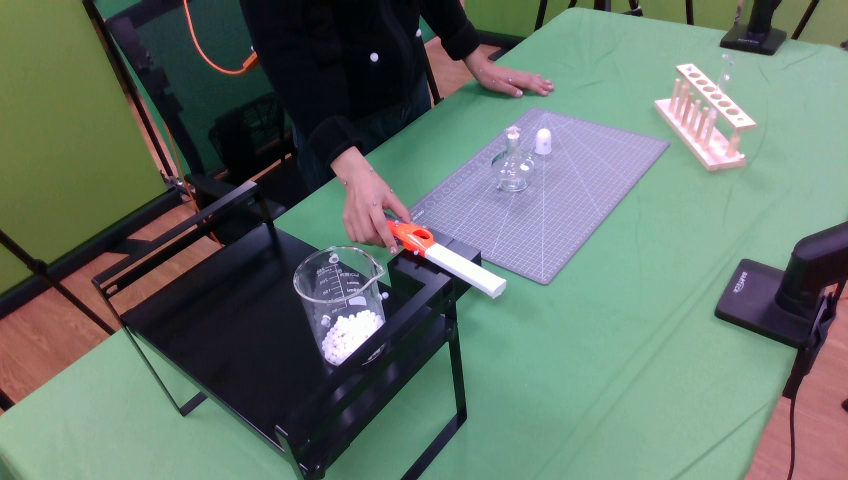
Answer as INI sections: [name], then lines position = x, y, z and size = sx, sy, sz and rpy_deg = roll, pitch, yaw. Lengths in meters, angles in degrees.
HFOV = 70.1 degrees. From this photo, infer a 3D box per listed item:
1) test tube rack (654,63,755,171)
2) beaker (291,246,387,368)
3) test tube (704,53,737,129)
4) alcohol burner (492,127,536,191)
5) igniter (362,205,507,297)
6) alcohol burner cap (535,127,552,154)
[test tube rack]
position = 0.510, -0.233, 1.120
size = 0.067, 0.085, 0.241
rpy_deg = -8, 41, -1
[beaker]
position = -0.073, 0.066, 0.573
size = 0.084, 0.101, 0.073
rpy_deg = -7, 41, 0
[test tube]
position = 0.526, -0.261, 1.074
size = 0.017, 0.151, 0.017
rpy_deg = -2, 44, 2
[alcohol burner]
position = 0.156, -0.146, 1.046
size = 0.078, 0.119, 0.077
rpy_deg = -4, 43, 4
[igniter]
position = 0.004, 0.009, 0.888
size = 0.274, 0.025, 0.057
rpy_deg = 30, 45, 33
[alcohol burner cap]
position = 0.227, -0.190, 1.142
size = 0.034, 0.048, 0.033
rpy_deg = -3, 40, 3
